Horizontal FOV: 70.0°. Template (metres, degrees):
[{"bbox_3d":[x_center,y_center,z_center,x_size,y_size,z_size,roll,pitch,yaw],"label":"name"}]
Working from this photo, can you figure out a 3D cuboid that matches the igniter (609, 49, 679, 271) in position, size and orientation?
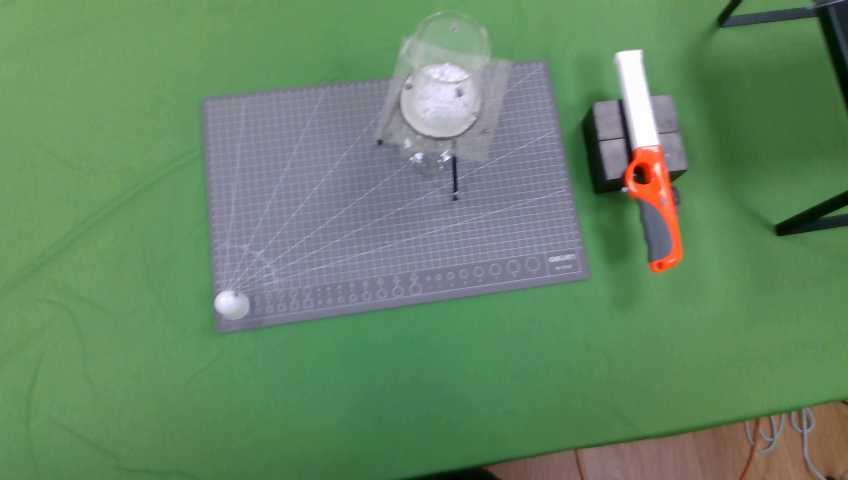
[{"bbox_3d":[0.259,-0.100,0.718,0.057,0.025,0.275,-6,76,-1],"label":"igniter"}]

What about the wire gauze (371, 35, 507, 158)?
[{"bbox_3d":[0.018,-0.152,0.642,0.121,0.011,0.124,15,73,-1],"label":"wire gauze"}]

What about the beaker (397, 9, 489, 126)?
[{"bbox_3d":[0.017,-0.163,0.594,0.084,0.101,0.073,-8,75,-3],"label":"beaker"}]

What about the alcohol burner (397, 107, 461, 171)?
[{"bbox_3d":[0.006,-0.126,0.712,0.078,0.119,0.077,0,78,-2],"label":"alcohol burner"}]

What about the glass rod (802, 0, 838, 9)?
[{"bbox_3d":[0.491,-0.272,0.642,0.200,0.008,0.008,-16,77,-6],"label":"glass rod"}]

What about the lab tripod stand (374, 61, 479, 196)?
[{"bbox_3d":[0.013,-0.139,0.705,0.148,0.132,0.147,1,74,-2],"label":"lab tripod stand"}]

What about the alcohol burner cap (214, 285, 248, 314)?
[{"bbox_3d":[-0.223,0.067,0.693,0.034,0.048,0.033,1,76,-3],"label":"alcohol burner cap"}]
